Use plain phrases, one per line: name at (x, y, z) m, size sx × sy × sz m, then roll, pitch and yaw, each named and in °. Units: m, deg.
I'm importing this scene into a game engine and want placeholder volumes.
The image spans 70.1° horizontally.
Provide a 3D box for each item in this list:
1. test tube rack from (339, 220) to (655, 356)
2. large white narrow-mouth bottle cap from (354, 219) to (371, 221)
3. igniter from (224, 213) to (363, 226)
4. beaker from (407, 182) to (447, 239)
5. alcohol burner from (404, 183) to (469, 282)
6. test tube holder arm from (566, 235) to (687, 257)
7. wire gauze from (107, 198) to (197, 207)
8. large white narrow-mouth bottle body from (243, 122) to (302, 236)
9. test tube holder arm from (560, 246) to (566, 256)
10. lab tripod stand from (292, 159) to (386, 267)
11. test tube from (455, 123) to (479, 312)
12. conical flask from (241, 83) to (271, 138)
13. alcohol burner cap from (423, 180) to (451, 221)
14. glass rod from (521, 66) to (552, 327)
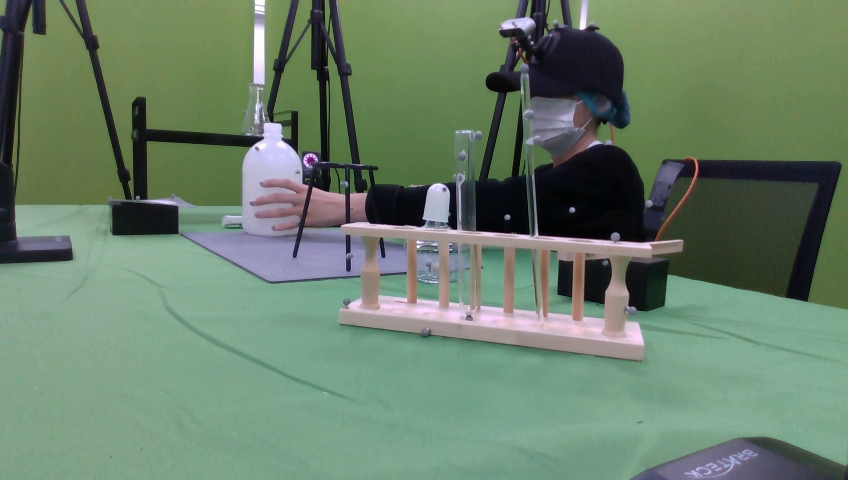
test tube rack at (0.056, 0.032, 0.495) m, size 0.242 × 0.085 × 0.067 m, roll 4°, pitch 7°, yaw 15°
large white narrow-mouth bottle cap at (-0.121, -0.029, 1.184) m, size 0.038 × 0.024 × 0.037 m, roll 2°, pitch 8°, yaw 0°
igniter at (-0.254, -0.041, 1.210) m, size 0.278 × 0.025 × 0.057 m, roll -2°, pitch -3°, yaw -30°
beaker at (0.009, -0.053, 1.104) m, size 0.074 × 0.100 × 0.083 m, roll -5°, pitch 11°, yaw -42°
alcohol burner at (0.015, -0.011, 0.715) m, size 0.078 × 0.119 × 0.078 m, roll 0°, pitch 7°, yaw 0°
test tube holder arm at (0.215, 0.006, 0.630) m, size 0.179 × 0.015 × 0.013 m, roll -3°, pitch 9°, yaw -30°
wire gauze at (-0.462, -0.064, 1.023) m, size 0.126 × 0.011 × 0.121 m, roll -2°, pitch 7°, yaw -32°
large white narrow-mouth bottle body at (-0.264, -0.109, 1.061) m, size 0.102 × 0.194 × 0.102 m, roll 2°, pitch 8°, yaw 0°
test tube holder arm at (0.173, 0.007, 0.611) m, size 0.088 × 0.015 × 0.010 m, roll -3°, pitch 9°, yaw -30°
lab tripod stand at (-0.105, -0.039, 0.798) m, size 0.148 × 0.131 × 0.148 m, roll 2°, pitch 5°, yaw 0°
test tube at (0.034, -0.016, 0.476) m, size 0.017 × 0.150 × 0.017 m, roll -2°, pitch 10°, yaw 1°
conical flask at (-0.384, -0.297, 1.393) m, size 0.075 × 0.122 × 0.075 m, roll 2°, pitch 7°, yaw 0°
alcohol burner cap at (0.017, -0.047, 0.711) m, size 0.034 × 0.048 × 0.034 m, roll 8°, pitch 5°, yaw 0°
glass rod at (0.085, -0.028, 0.454) m, size 0.008 × 0.199 × 0.008 m, roll -7°, pitch 10°, yaw 2°
